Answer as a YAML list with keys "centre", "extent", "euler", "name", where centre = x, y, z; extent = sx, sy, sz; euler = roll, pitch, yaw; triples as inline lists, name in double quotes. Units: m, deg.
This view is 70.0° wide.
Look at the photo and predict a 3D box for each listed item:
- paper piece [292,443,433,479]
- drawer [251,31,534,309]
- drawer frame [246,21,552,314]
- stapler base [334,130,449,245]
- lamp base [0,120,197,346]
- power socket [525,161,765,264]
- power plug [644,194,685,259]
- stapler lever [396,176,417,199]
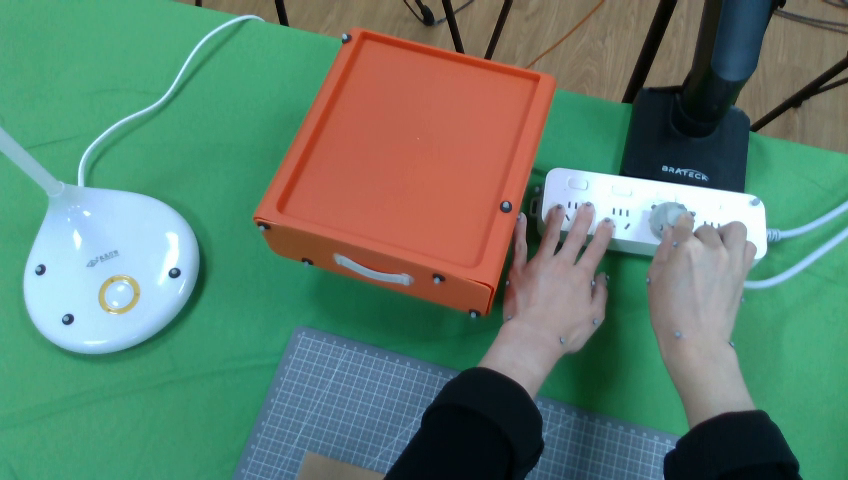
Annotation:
- centre: [-0.054, 0.245, 0.476]
  extent: [0.135, 0.009, 0.137]
  euler: [14, 67, 10]
  name: "paper piece"
- centre: [-0.013, -0.066, 0.531]
  extent: [0.194, 0.074, 0.210]
  euler: [16, 66, 8]
  name: "drawer"
- centre: [-0.014, -0.069, 0.532]
  extent: [0.201, 0.083, 0.212]
  euler: [16, 66, 8]
  name: "drawer frame"
- centre: [-0.033, -0.051, 0.544]
  extent: [0.041, 0.024, 0.129]
  euler: [-44, 69, 0]
  name: "stapler base"
- centre: [-0.305, -0.020, 0.505]
  extent: [0.160, 0.181, 0.178]
  euler: [-37, 67, -15]
  name: "lamp base"
- centre: [0.213, -0.027, 0.588]
  extent: [0.226, 0.033, 0.072]
  euler: [9, 67, 4]
  name: "power socket"
- centre: [0.215, -0.010, 0.554]
  extent: [0.035, 0.053, 0.072]
  euler: [20, 67, 11]
  name: "power plug"
- centre: [-0.042, -0.059, 0.520]
  extent: [0.027, 0.040, 0.117]
  euler: [-44, 67, 0]
  name: "stapler lever"
